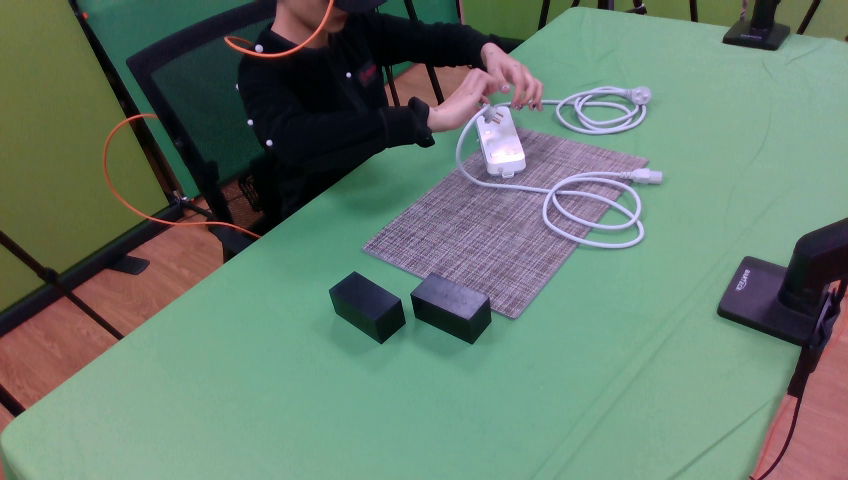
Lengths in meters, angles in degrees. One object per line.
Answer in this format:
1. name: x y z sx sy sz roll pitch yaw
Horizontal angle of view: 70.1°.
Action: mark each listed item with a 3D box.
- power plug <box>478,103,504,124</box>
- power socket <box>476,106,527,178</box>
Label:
1. power plug: 0.127 -0.231 1.119 0.053 0.035 0.072 24 16 -14
2. power socket: 0.146 -0.196 1.173 0.072 0.033 0.225 -7 40 2
